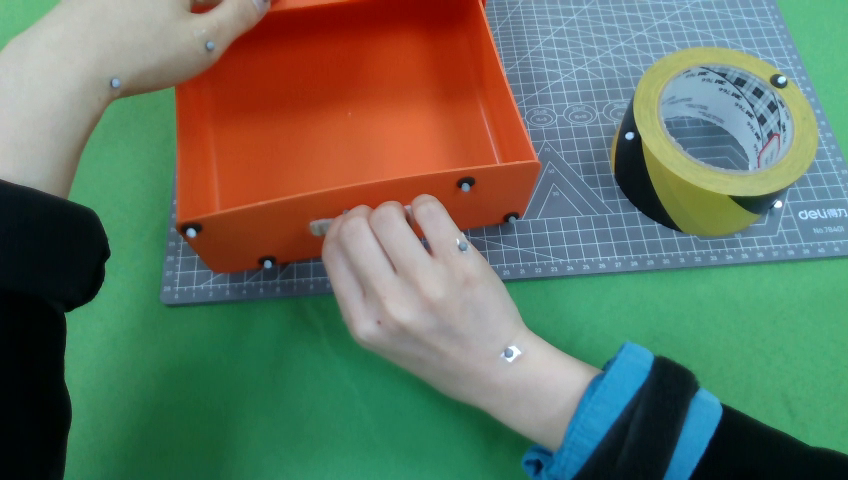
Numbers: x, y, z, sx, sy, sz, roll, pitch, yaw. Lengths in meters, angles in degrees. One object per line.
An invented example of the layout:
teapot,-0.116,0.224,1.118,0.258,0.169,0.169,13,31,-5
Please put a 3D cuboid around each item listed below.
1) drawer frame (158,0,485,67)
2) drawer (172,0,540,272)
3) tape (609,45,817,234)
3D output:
drawer frame,-0.078,-0.216,0.437,0.202,0.083,0.211,-11,65,-5
drawer,-0.052,-0.099,0.385,0.195,0.074,0.210,-11,65,-5
tape,0.180,-0.063,0.385,0.117,0.053,0.116,0,65,0
